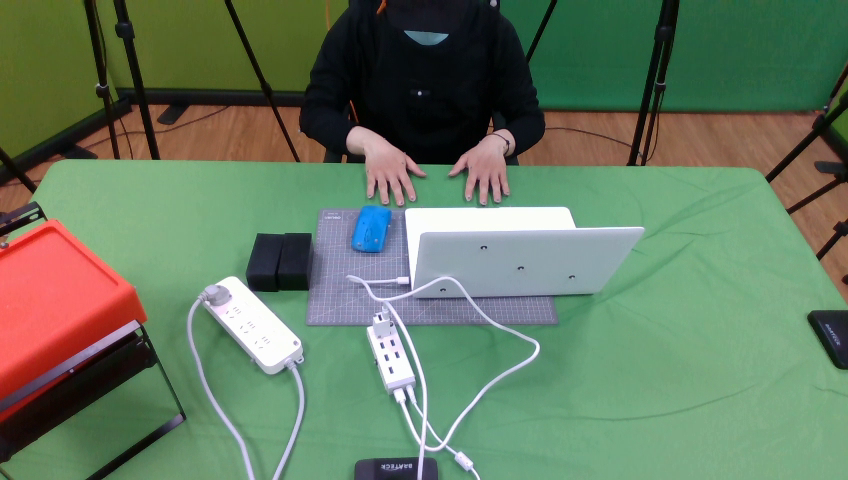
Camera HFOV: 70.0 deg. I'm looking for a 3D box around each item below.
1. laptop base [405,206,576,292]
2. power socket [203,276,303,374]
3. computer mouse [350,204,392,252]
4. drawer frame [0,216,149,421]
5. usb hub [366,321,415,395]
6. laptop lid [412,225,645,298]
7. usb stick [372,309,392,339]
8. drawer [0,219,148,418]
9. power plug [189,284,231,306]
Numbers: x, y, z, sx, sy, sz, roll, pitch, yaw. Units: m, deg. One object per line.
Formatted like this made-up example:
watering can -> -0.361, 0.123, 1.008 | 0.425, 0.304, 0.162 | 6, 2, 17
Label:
laptop base -> 0.143, 0.018, 1.196 | 0.355, 0.023, 0.234 | -1, 43, -6
power socket -> -0.296, 0.141, 1.034 | 0.072, 0.033, 0.225 | -35, 58, -30
computer mouse -> -0.104, -0.027, 1.202 | 0.063, 0.041, 0.116 | 11, 51, 4
drawer frame -> -0.510, 0.093, 0.780 | 0.201, 0.083, 0.213 | 31, 52, 23
usb hub -> -0.056, 0.194, 1.007 | 0.049, 0.025, 0.124 | -12, 49, -15
laptop lid -> 0.161, 0.042, 1.012 | 0.357, 0.242, 0.013 | 0, 59, -7
usb stick -> -0.070, 0.145, 1.008 | 0.027, 0.059, 0.021 | -14, 40, -25
drawer -> -0.509, 0.093, 0.783 | 0.193, 0.073, 0.211 | 32, 53, 24
power plug -> -0.367, 0.100, 1.037 | 0.072, 0.053, 0.035 | -24, 54, -27
